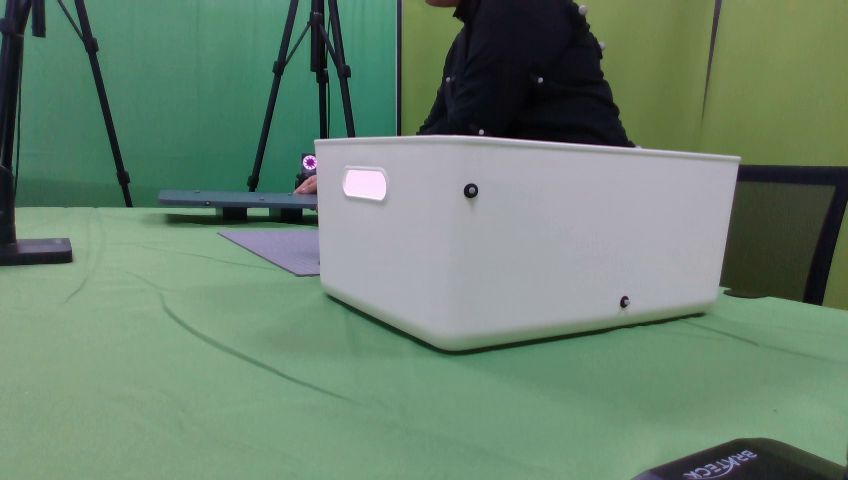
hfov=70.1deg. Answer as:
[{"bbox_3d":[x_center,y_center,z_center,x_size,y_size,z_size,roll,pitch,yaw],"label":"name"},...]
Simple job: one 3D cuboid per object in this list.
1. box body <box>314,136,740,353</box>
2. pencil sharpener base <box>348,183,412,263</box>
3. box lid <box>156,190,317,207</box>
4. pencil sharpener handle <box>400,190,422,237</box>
[{"bbox_3d":[0.098,-0.012,0.605,0.366,0.160,0.253,-2,8,-33],"label":"box body"},{"bbox_3d":[-0.059,-0.024,0.845,0.077,0.107,0.061,-1,7,-30],"label":"pencil sharpener base"},{"bbox_3d":[-0.385,-0.090,1.330,0.373,0.015,0.262,0,8,-23],"label":"box lid"},{"bbox_3d":[-0.015,-0.037,0.872,0.031,0.067,0.036,-1,15,-30],"label":"pencil sharpener handle"}]
